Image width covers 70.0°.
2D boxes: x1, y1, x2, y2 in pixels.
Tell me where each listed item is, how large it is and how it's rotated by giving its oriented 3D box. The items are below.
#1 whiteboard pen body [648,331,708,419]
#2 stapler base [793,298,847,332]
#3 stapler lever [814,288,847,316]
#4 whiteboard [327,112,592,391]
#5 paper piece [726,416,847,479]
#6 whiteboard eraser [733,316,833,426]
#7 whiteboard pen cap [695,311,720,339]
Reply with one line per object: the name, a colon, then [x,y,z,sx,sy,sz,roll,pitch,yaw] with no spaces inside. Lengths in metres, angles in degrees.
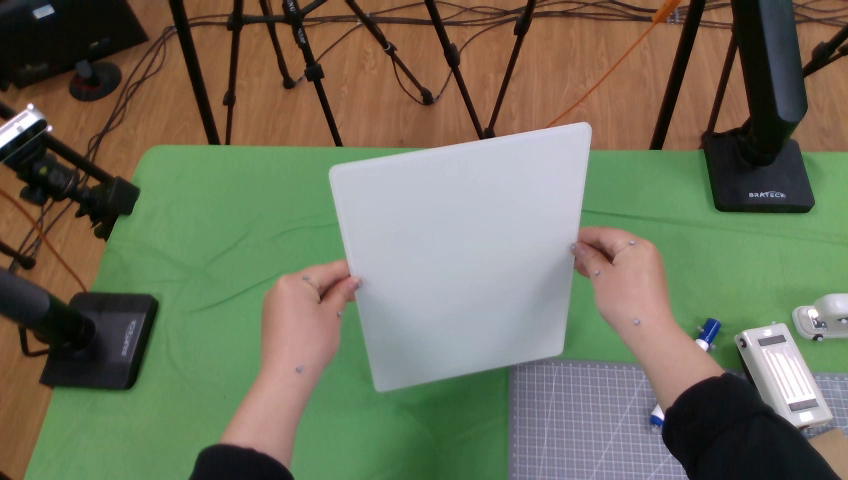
whiteboard pen body: [0.290,0.140,0.678,0.017,0.017,0.140,33,69,21]
stapler base: [0.497,0.080,0.694,0.130,0.024,0.041,-3,64,1]
stapler lever: [0.497,0.069,0.673,0.118,0.040,0.026,-4,64,2]
whiteboard: [0.030,-0.011,0.625,0.217,0.308,0.142,-10,42,-5]
paper piece: [0.399,0.266,0.606,0.136,0.009,0.137,-20,64,-1]
whiteboard eraser: [0.385,0.141,0.656,0.055,0.042,0.111,-12,61,0]
whiteboard pen cap: [0.326,0.099,0.697,0.018,0.018,0.033,31,66,20]
